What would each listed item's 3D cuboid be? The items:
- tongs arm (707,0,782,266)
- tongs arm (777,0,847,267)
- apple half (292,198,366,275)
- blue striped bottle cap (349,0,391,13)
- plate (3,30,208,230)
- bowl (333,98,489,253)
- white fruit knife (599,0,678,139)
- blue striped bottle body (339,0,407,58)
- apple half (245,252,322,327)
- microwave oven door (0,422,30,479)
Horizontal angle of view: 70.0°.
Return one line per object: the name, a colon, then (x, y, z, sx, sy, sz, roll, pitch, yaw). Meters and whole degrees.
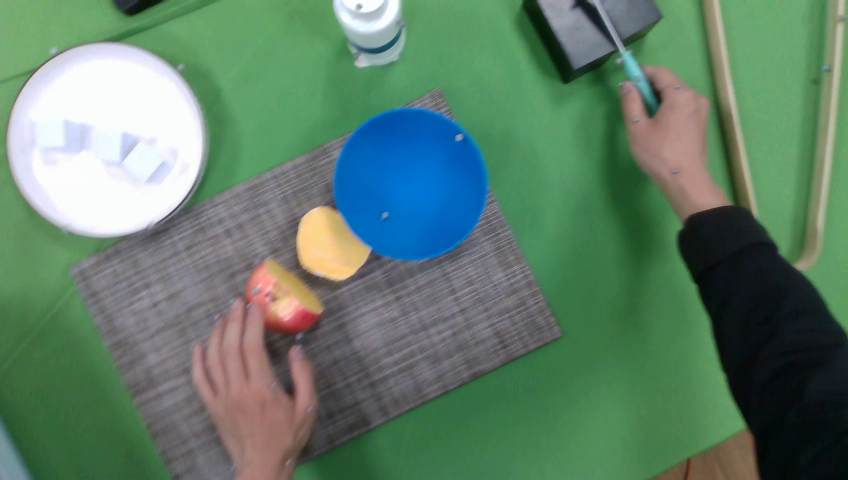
tongs arm: (0.333, -0.161, 0.649, 0.028, 0.028, 0.387, -9, 90, -2)
tongs arm: (0.415, -0.161, 0.645, 0.051, 0.026, 0.384, 4, 91, 1)
apple half: (-0.102, -0.005, 0.637, 0.081, 0.032, 0.081, -2, 100, -9)
blue striped bottle cap: (-0.050, -0.232, 0.550, 0.044, 0.020, 0.044, 0, 88, -1)
plate: (-0.330, -0.113, 0.642, 0.208, 0.039, 0.207, 0, 90, -1)
bowl: (-0.012, -0.061, 0.617, 0.151, 0.077, 0.151, 0, 90, 0)
white fruit knife: (0.209, -0.190, 0.618, 0.016, 0.027, 0.208, -30, 107, 17)
blue striped bottle body: (-0.049, -0.230, 0.601, 0.063, 0.121, 0.063, 0, 89, 0)
apple half: (-0.150, 0.057, 0.619, 0.081, 0.074, 0.053, 44, 94, -3)
microwave oven door: (-0.420, 0.273, 0.520, 0.039, 0.244, 0.355, -28, 89, 0)
